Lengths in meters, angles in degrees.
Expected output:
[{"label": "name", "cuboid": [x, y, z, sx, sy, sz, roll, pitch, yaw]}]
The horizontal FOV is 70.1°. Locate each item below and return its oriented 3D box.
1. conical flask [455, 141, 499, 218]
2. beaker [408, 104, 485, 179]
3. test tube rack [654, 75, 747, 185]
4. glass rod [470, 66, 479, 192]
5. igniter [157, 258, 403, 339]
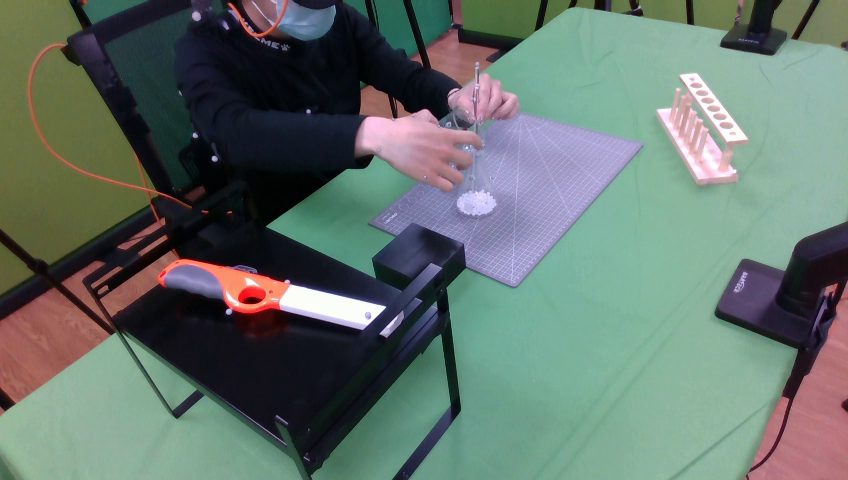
[{"label": "conical flask", "cuboid": [0.085, -0.103, 0.999, 0.075, 0.122, 0.075, -4, 40, 4]}, {"label": "beaker", "cuboid": [0.033, -0.145, 0.921, 0.100, 0.084, 0.073, -39, 40, -16]}, {"label": "test tube rack", "cuboid": [0.491, -0.205, 1.092, 0.067, 0.085, 0.241, -5, 40, 3]}, {"label": "glass rod", "cuboid": [0.080, -0.174, 0.965, 0.008, 0.200, 0.008, 1, 17, 0]}, {"label": "igniter", "cuboid": [-0.157, 0.059, 0.638, 0.275, 0.025, 0.057, 11, 43, 14]}]
